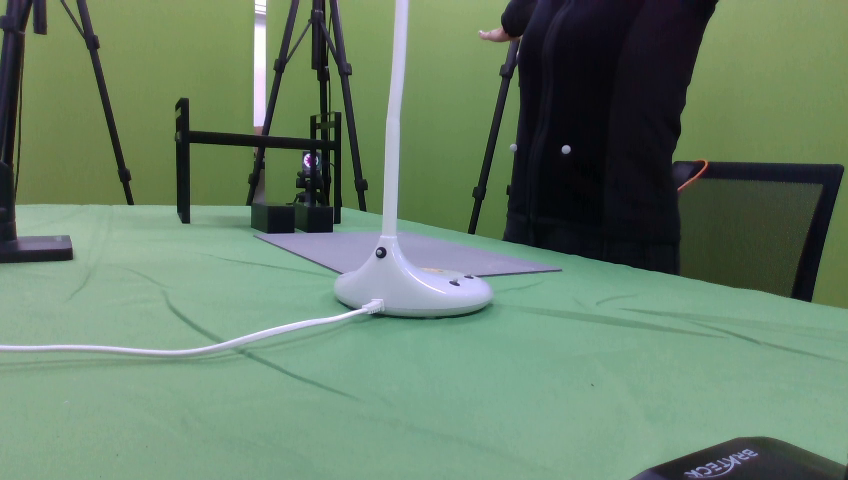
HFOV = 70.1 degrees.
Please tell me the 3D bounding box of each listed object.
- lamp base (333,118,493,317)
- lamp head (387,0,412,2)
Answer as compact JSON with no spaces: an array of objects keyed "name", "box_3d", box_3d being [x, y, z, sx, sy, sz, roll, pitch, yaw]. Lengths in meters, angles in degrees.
[{"name":"lamp base","box_3d":[-0.012,-0.025,0.585,0.160,0.180,0.179,4,10,15]},{"name":"lamp head","box_3d":[-0.023,-0.317,0.602,0.112,0.112,0.123,4,-27,12]}]
